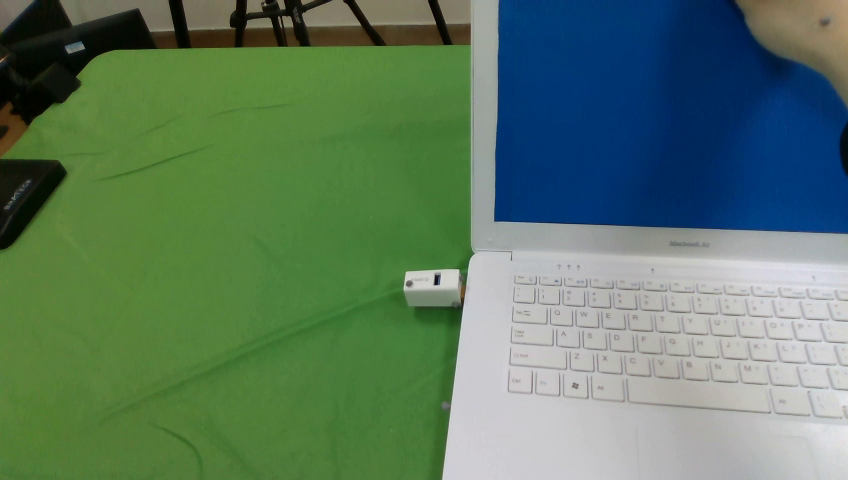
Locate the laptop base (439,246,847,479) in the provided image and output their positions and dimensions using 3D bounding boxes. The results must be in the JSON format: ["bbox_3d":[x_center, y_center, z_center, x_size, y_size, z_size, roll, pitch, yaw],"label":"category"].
[{"bbox_3d":[0.195,0.106,0.416,0.354,0.023,0.233,2,52,9],"label":"laptop base"}]

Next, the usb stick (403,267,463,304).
[{"bbox_3d":[0.015,0.037,0.486,0.059,0.027,0.021,0,49,9],"label":"usb stick"}]

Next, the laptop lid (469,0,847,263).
[{"bbox_3d":[0.209,-0.090,0.447,0.356,0.243,0.013,1,22,10],"label":"laptop lid"}]
